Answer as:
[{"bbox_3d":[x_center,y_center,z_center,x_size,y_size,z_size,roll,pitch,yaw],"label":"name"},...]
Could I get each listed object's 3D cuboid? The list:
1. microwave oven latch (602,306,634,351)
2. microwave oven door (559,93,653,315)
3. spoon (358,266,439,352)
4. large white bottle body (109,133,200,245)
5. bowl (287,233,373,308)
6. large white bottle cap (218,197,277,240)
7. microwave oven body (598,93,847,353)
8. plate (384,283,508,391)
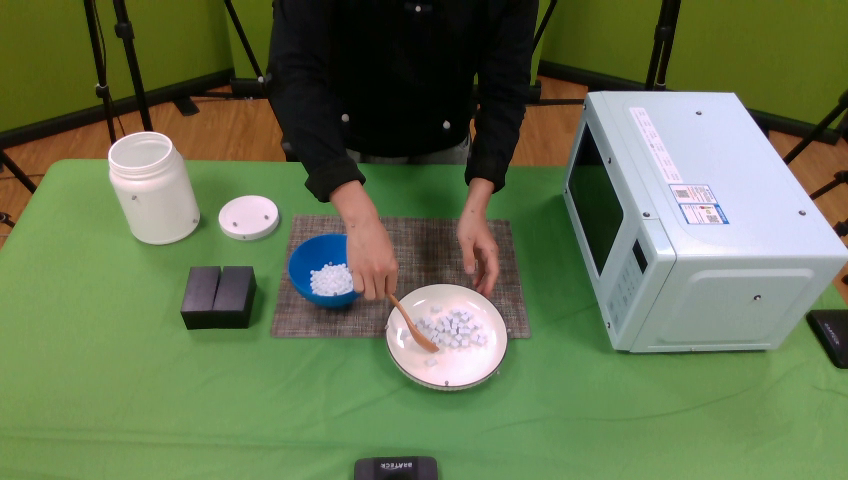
[{"bbox_3d":[0.332,0.153,1.044,0.030,0.029,0.078,0,45,-4],"label":"microwave oven latch"},{"bbox_3d":[0.327,-0.074,1.123,0.039,0.245,0.353,0,46,-5],"label":"microwave oven door"},{"bbox_3d":[-0.043,0.115,1.006,0.021,0.041,0.193,-38,88,-24],"label":"spoon"},{"bbox_3d":[-0.506,-0.097,1.141,0.131,0.185,0.130,2,46,-2],"label":"large white bottle body"},{"bbox_3d":[-0.165,0.068,1.078,0.151,0.077,0.150,3,45,-2],"label":"bowl"},{"bbox_3d":[-0.355,-0.045,1.220,0.115,0.018,0.114,1,45,-1],"label":"large white bottle cap"},{"bbox_3d":[0.475,-0.041,1.109,0.326,0.261,0.438,-1,45,-4],"label":"microwave oven body"},{"bbox_3d":[0.036,0.166,1.029,0.209,0.038,0.208,2,49,-2],"label":"plate"}]
